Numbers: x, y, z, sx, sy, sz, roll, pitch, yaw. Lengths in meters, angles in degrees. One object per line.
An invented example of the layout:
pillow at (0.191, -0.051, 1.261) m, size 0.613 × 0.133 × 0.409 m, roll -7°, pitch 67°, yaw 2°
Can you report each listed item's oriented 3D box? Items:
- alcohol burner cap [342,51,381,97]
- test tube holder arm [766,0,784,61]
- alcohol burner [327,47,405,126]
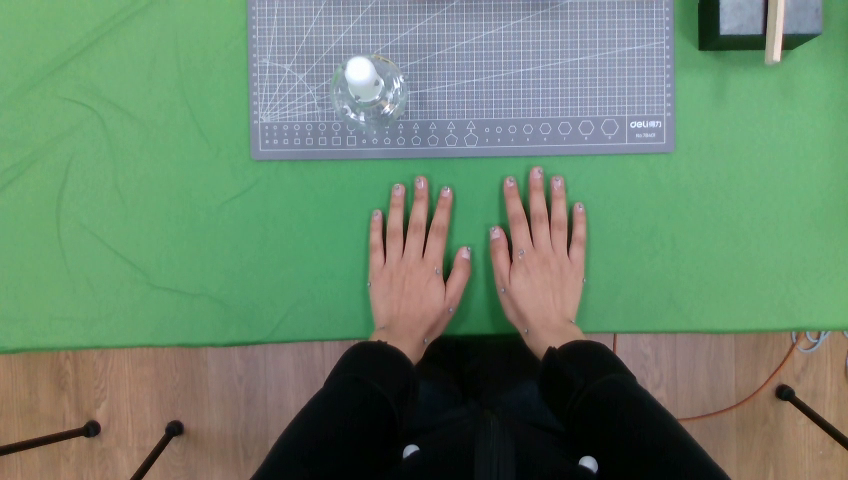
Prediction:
alcohol burner cap at (-0.059, -0.153, 0.554) m, size 0.034 × 0.048 × 0.034 m, roll 0°, pitch 85°, yaw 4°
test tube holder arm at (0.338, -0.264, 0.582) m, size 0.013 × 0.015 × 0.178 m, roll -1°, pitch 92°, yaw -7°
alcohol burner at (-0.058, -0.153, 0.589) m, size 0.078 × 0.119 × 0.078 m, roll 0°, pitch 90°, yaw 0°
